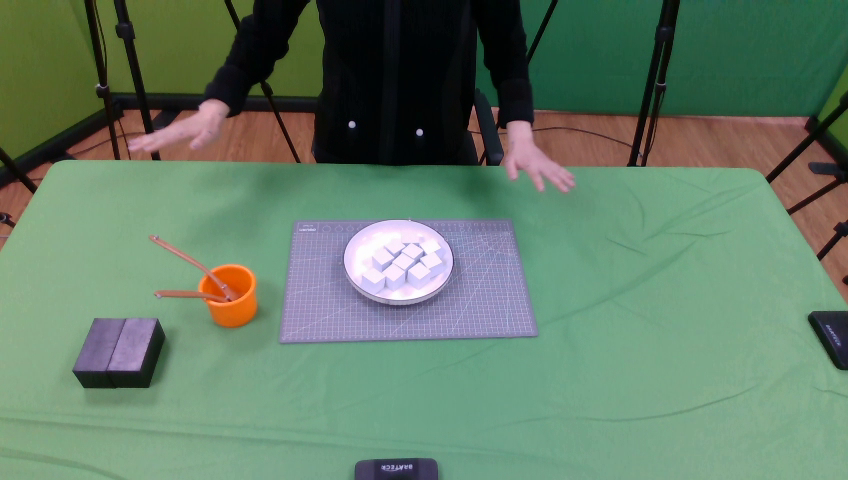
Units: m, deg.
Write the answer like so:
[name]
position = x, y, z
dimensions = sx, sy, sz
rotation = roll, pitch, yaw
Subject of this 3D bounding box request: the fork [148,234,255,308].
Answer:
[fork]
position = -0.372, 0.054, 1.020
dimensions = 0.208, 0.018, 0.028
rotation = 43, 21, -22

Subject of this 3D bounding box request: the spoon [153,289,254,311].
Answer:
[spoon]
position = -0.355, 0.094, 0.990
dimensions = 0.021, 0.195, 0.041
rotation = -48, 59, 11

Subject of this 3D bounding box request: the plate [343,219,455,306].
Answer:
[plate]
position = -0.047, 0.045, 1.136
dimensions = 0.208, 0.039, 0.206
rotation = 2, 46, -2
